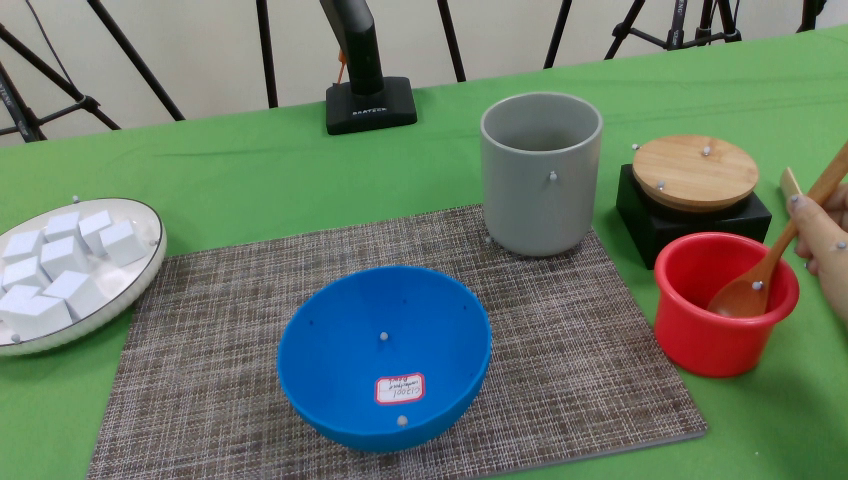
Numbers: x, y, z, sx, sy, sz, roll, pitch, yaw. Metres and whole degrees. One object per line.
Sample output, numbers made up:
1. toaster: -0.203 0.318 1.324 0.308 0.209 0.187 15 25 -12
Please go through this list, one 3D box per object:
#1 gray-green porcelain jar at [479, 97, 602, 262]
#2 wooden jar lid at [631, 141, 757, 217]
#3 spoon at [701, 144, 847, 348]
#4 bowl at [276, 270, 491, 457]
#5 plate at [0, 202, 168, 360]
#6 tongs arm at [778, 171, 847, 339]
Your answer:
1. gray-green porcelain jar: 0.106 -0.052 0.565 0.106 0.128 0.105 -4 41 4
2. wooden jar lid: 0.248 -0.057 0.562 0.108 0.021 0.107 -5 40 4
3. spoon: 0.261 0.003 0.435 0.022 0.195 0.041 -4 39 -30
4. bowl: -0.024 0.100 0.444 0.151 0.077 0.150 -4 40 4
5. plate: -0.355 0.039 0.597 0.209 0.038 0.207 -5 41 4
6. tongs arm: 0.349 0.064 0.479 0.028 0.028 0.384 2 41 7
